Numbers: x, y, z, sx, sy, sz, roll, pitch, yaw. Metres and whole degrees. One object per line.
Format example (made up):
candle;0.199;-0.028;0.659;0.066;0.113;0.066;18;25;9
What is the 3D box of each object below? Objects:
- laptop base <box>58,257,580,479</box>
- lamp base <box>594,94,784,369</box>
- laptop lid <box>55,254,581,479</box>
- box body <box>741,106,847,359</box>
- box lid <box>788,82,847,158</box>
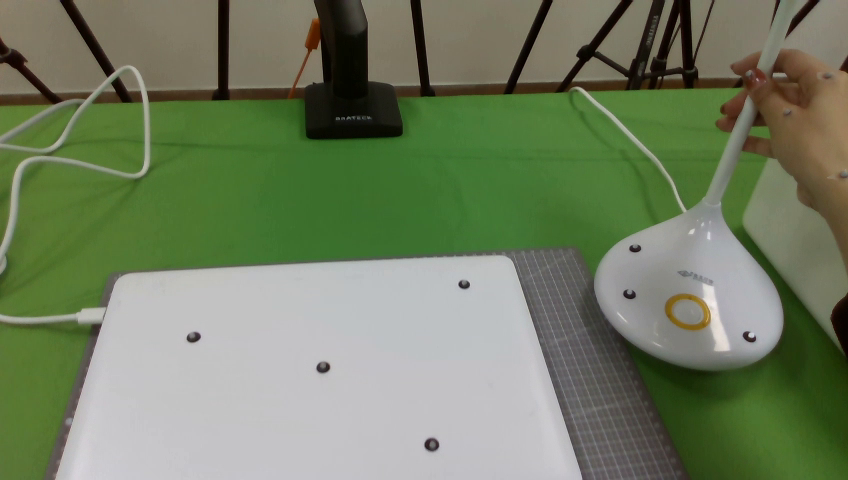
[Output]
laptop base;-0.078;0.109;0.480;0.355;0.023;0.233;-2;46;-8
lamp base;0.237;-0.016;0.499;0.160;0.182;0.178;11;41;12
laptop lid;-0.077;0.102;0.470;0.357;0.013;0.239;-1;45;-7
box body;0.485;0.028;0.514;0.255;0.162;0.360;-4;43;-10
box lid;0.489;-0.029;0.465;0.264;0.015;0.367;-3;43;-10
